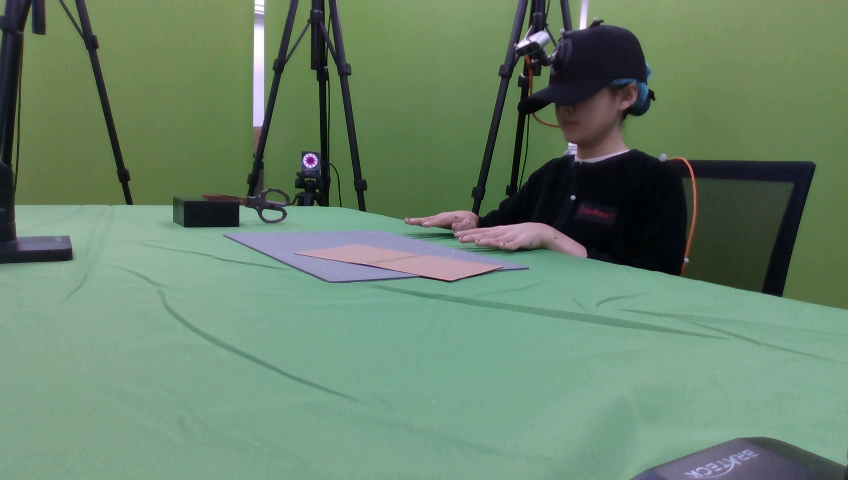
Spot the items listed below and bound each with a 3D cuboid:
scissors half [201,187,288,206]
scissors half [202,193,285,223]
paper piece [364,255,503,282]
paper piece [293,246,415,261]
[{"bbox_3d":[-0.360,-0.088,1.224,0.176,0.040,0.012,-3,20,-32],"label":"scissors half"},{"bbox_3d":[-0.365,-0.069,1.228,0.176,0.040,0.013,18,3,-35],"label":"scissors half"},{"bbox_3d":[0.014,0.034,0.799,0.135,0.004,0.136,8,10,35],"label":"paper piece"},{"bbox_3d":[-0.096,0.020,0.873,0.137,0.008,0.137,7,4,35],"label":"paper piece"}]
